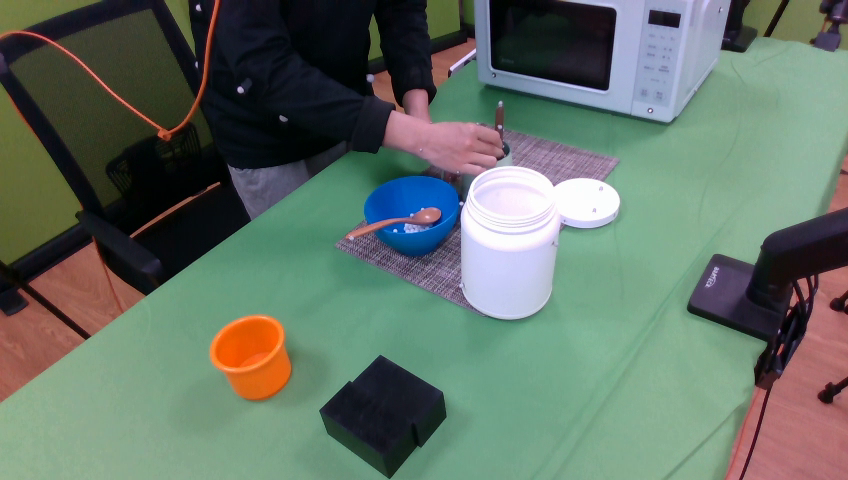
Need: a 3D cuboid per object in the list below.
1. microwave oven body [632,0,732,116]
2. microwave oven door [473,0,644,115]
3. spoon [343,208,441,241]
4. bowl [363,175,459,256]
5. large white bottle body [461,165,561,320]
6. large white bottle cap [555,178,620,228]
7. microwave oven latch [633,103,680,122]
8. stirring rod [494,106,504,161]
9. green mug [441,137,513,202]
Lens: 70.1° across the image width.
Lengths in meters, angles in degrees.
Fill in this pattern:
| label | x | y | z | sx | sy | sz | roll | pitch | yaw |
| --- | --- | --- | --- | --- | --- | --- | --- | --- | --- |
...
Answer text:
| label | x | y | z | sx | sy | sz | roll | pitch | yaw |
| --- | --- | --- | --- | --- | --- | --- | --- | --- | --- |
| microwave oven body | 0.377 | -0.463 | 1.267 | 0.438 | 0.261 | 0.327 | 21 | 48 | 30 |
| microwave oven door | 0.257 | -0.396 | 1.199 | 0.353 | 0.245 | 0.039 | 21 | 48 | 29 |
| spoon | -0.046 | -0.025 | 0.911 | 0.041 | 0.021 | 0.195 | 26 | 27 | 37 |
| bowl | -0.017 | -0.028 | 0.955 | 0.151 | 0.077 | 0.150 | -4 | 40 | 4 |
| large white bottle body | 0.115 | 0.004 | 0.816 | 0.130 | 0.185 | 0.130 | -2 | 43 | 2 |
| large white bottle cap | 0.265 | -0.063 | 1.001 | 0.115 | 0.018 | 0.114 | -3 | 42 | 3 |
| microwave oven latch | 0.443 | -0.249 | 1.157 | 0.078 | 0.029 | 0.030 | 20 | 48 | 29 |
| stirring rod | 0.120 | -0.135 | 0.972 | 0.014 | 0.177 | 0.005 | -21 | 42 | -20 |
| green mug | 0.090 | -0.107 | 1.012 | 0.125 | 0.105 | 0.092 | 2 | 41 | 11 |
